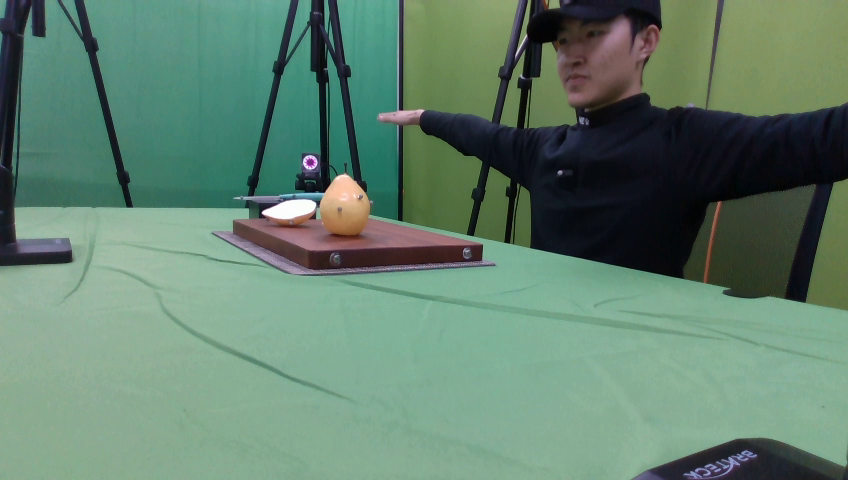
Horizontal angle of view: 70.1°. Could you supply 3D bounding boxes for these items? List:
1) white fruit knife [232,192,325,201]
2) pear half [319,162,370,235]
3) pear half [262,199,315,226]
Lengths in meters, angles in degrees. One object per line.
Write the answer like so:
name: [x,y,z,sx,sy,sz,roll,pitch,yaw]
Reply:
white fruit knife: [-0.302,-0.090,1.291,0.208,0.016,0.027,-4,-12,-27]
pear half: [-0.111,-0.061,0.894,0.055,0.110,0.077,8,13,40]
pear half: [-0.223,-0.041,1.008,0.088,0.031,0.070,-11,22,2]
